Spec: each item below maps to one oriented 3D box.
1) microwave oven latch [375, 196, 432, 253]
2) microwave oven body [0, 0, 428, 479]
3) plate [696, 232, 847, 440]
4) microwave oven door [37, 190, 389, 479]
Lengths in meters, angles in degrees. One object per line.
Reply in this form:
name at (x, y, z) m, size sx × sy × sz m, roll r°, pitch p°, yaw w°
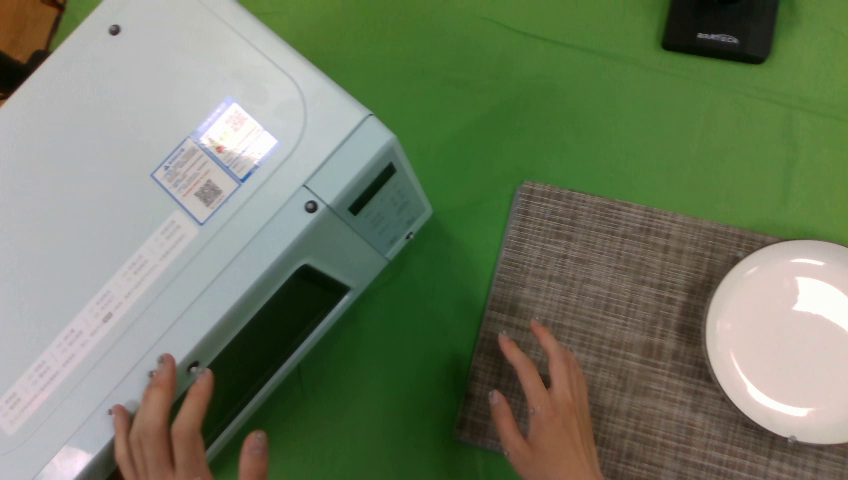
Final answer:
microwave oven latch at (-0.025, -0.024, 0.690) m, size 0.030 × 0.029 × 0.079 m, roll 43°, pitch 88°, yaw 14°
microwave oven body at (-0.266, -0.004, 0.621) m, size 0.324 × 0.261 × 0.441 m, roll 41°, pitch 87°, yaw 13°
plate at (0.385, 0.096, 0.620) m, size 0.207 × 0.039 × 0.206 m, roll -2°, pitch 78°, yaw 8°
microwave oven door at (-0.187, 0.118, 0.580) m, size 0.039 × 0.245 × 0.355 m, roll 40°, pitch 87°, yaw 15°
